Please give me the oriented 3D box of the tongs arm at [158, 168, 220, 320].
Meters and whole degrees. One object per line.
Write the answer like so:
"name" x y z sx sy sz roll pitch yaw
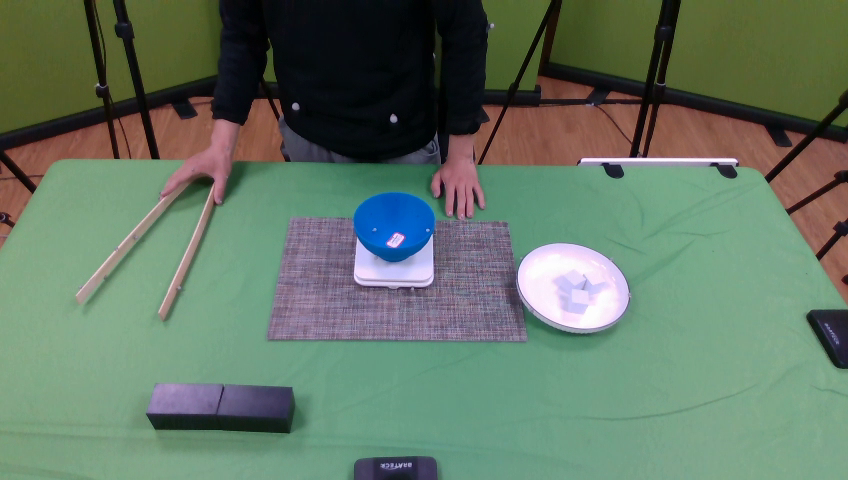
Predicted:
"tongs arm" -0.446 -0.007 1.164 0.028 0.028 0.385 1 46 1

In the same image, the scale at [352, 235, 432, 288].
"scale" -0.060 0.010 1.171 0.149 0.032 0.199 2 46 -3

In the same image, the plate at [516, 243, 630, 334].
"plate" 0.272 0.092 1.120 0.208 0.039 0.206 2 46 -2

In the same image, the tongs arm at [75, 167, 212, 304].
"tongs arm" -0.526 -0.021 1.167 0.051 0.026 0.383 13 46 7

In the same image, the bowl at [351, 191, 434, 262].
"bowl" -0.057 -0.013 1.119 0.151 0.077 0.150 1 46 -1
